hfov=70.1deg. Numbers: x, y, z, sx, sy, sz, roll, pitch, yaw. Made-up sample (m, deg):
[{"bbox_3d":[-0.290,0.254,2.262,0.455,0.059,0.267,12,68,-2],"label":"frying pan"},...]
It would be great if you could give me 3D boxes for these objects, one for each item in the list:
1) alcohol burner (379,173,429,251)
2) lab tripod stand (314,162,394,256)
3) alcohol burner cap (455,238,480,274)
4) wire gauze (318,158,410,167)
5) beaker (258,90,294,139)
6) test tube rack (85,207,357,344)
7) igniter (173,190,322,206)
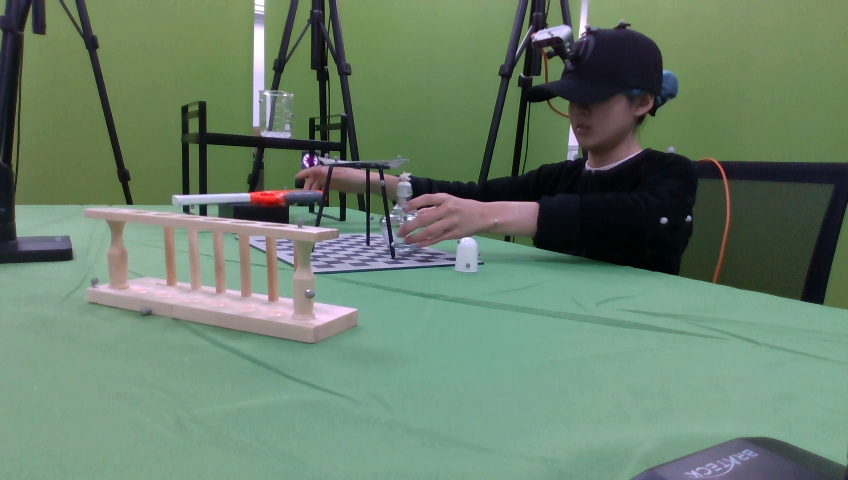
[{"bbox_3d":[-0.031,-0.042,0.926,0.078,0.119,0.078,1,9,0],"label":"alcohol burner"},{"bbox_3d":[-0.098,-0.048,0.897,0.148,0.131,0.148,1,6,0],"label":"lab tripod stand"},{"bbox_3d":[0.058,0.022,0.798,0.034,0.048,0.034,3,6,0],"label":"alcohol burner cap"},{"bbox_3d":[-0.090,-0.114,0.888,0.122,0.011,0.124,0,6,-15],"label":"wire gauze"},{"bbox_3d":[-0.324,-0.274,1.331,0.083,0.100,0.074,7,9,24],"label":"beaker"},{"bbox_3d":[-0.177,0.022,0.518,0.241,0.085,0.067,6,7,23],"label":"test tube rack"},{"bbox_3d":[-0.317,-0.079,1.128,0.278,0.025,0.057,-4,12,-32],"label":"igniter"}]
